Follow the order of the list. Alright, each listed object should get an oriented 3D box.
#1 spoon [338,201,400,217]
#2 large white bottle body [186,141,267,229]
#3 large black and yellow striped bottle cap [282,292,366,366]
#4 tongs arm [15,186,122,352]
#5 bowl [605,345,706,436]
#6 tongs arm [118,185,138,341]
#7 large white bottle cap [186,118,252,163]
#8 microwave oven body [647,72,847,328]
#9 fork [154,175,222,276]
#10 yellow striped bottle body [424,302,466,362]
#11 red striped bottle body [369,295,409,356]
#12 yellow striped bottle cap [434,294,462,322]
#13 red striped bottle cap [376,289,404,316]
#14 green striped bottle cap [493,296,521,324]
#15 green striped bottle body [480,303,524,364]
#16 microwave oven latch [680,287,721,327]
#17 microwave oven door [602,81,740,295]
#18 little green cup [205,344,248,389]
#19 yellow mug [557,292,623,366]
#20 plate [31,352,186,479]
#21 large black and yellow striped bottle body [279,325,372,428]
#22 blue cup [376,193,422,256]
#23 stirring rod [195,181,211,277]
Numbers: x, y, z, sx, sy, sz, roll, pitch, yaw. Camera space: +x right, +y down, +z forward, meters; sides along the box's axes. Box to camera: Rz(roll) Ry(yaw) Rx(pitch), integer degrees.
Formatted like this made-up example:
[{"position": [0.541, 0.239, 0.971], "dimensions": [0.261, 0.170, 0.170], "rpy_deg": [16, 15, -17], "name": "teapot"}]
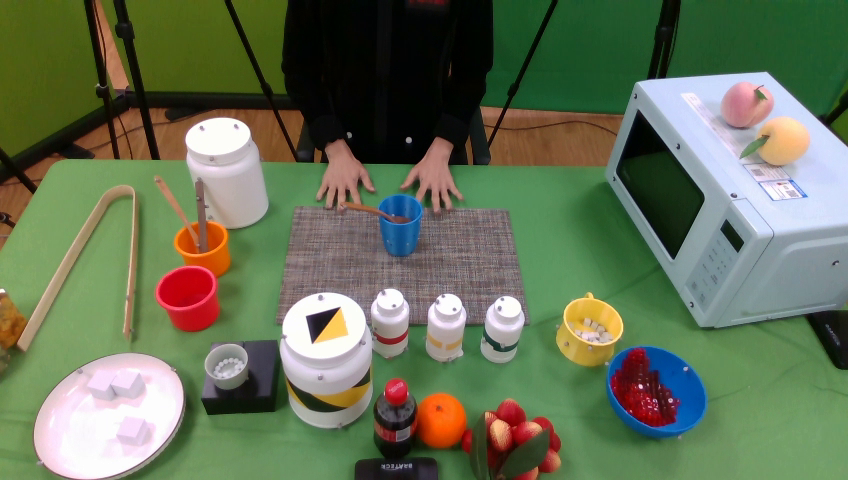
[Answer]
[{"position": [-0.085, -0.048, 1.100], "dimensions": [0.195, 0.021, 0.041], "rpy_deg": [20, 27, -53], "name": "spoon"}, {"position": [-0.382, -0.127, 1.176], "dimensions": [0.131, 0.185, 0.130], "rpy_deg": [2, 46, -2], "name": "large white bottle body"}, {"position": [-0.138, 0.121, 0.841], "dimensions": [0.115, 0.019, 0.114], "rpy_deg": [3, 47, -3], "name": "large black and yellow striped bottle cap"}, {"position": [-0.642, 0.037, 1.107], "dimensions": [0.028, 0.028, 0.385], "rpy_deg": [-2, 46, 5], "name": "tongs arm"}, {"position": [0.351, 0.248, 0.950], "dimensions": [0.151, 0.077, 0.150], "rpy_deg": [2, 46, -2], "name": "bowl"}, {"position": [-0.555, 0.028, 1.116], "dimensions": [0.051, 0.027, 0.382], "rpy_deg": [-11, 47, -8], "name": "tongs arm"}, {"position": [-0.377, -0.185, 1.115], "dimensions": [0.115, 0.018, 0.114], "rpy_deg": [2, 47, -2], "name": "large white bottle cap"}, {"position": [0.607, -0.089, 1.164], "dimensions": [0.326, 0.261, 0.438], "rpy_deg": [-7, 46, -10], "name": "microwave oven body"}, {"position": [-0.431, -0.026, 1.101], "dimensions": [0.028, 0.018, 0.207], "rpy_deg": [-33, 100, -25], "name": "fork"}, {"position": [0.035, 0.143, 0.995], "dimensions": [0.063, 0.121, 0.062], "rpy_deg": [3, 46, -3], "name": "yellow striped bottle body"}, {"position": [-0.059, 0.134, 0.997], "dimensions": [0.063, 0.120, 0.062], "rpy_deg": [5, 48, -5], "name": "red striped bottle body"}, {"position": [0.038, 0.107, 0.958], "dimensions": [0.044, 0.019, 0.044], "rpy_deg": [2, 45, -2], "name": "yellow striped bottle cap"}, {"position": [-0.055, 0.098, 0.958], "dimensions": [0.044, 0.018, 0.044], "rpy_deg": [0, 48, 1], "name": "red striped bottle cap"}, {"position": [0.133, 0.111, 0.962], "dimensions": [0.044, 0.020, 0.044], "rpy_deg": [2, 47, -2], "name": "green striped bottle cap"}, {"position": [0.129, 0.147, 1.000], "dimensions": [0.063, 0.120, 0.063], "rpy_deg": [2, 46, -2], "name": "green striped bottle body"}, {"position": [0.494, 0.120, 1.088], "dimensions": [0.030, 0.029, 0.078], "rpy_deg": [-7, 46, -10], "name": "microwave oven latch"}, {"position": [0.456, -0.107, 1.162], "dimensions": [0.039, 0.245, 0.353], "rpy_deg": [-7, 47, -11], "name": "microwave oven door"}, {"position": [-0.294, 0.191, 0.909], "dimensions": [0.061, 0.039, 0.061], "rpy_deg": [1, 47, -1], "name": "little green cup"}, {"position": [0.285, 0.145, 1.051], "dimensions": [0.100, 0.064, 0.130], "rpy_deg": [7, 46, 4], "name": "yellow mug"}, {"position": [-0.459, 0.262, 0.898], "dimensions": [0.209, 0.038, 0.208], "rpy_deg": [2, 46, -2], "name": "plate"}, {"position": [-0.143, 0.181, 0.900], "dimensions": [0.131, 0.185, 0.130], "rpy_deg": [2, 46, -2], "name": "large black and yellow striped bottle body"}, {"position": [-0.048, -0.024, 1.157], "dimensions": [0.093, 0.101, 0.092], "rpy_deg": [1, 48, -1], "name": "blue cup"}, {"position": [-0.403, -0.020, 1.104], "dimensions": [0.014, 0.006, 0.176], "rpy_deg": [-6, 89, -9], "name": "stirring rod"}]
